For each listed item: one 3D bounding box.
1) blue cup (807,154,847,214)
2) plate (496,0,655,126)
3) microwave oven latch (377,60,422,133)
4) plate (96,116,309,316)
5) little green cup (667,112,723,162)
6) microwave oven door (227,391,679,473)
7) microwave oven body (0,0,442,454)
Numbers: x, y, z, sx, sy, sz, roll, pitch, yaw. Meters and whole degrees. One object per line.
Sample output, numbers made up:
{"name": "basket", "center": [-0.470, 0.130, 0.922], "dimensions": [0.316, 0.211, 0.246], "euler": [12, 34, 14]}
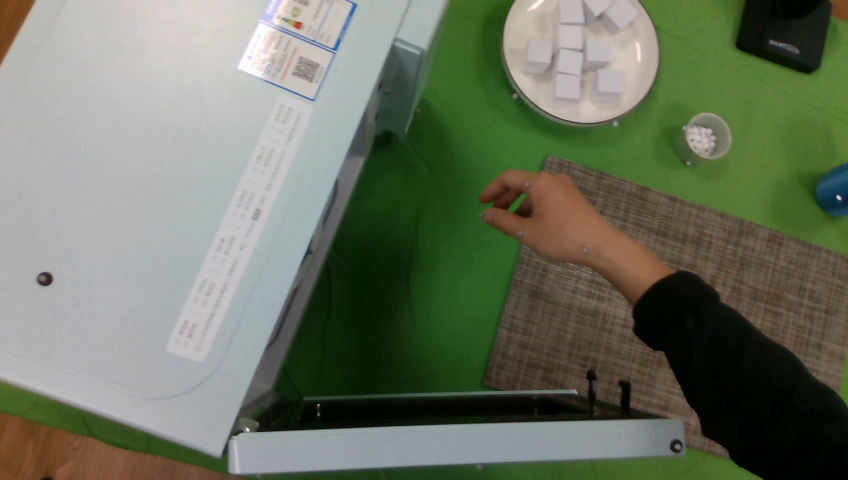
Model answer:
{"name": "blue cup", "center": [0.553, -0.073, 0.774], "dimensions": [0.093, 0.100, 0.092], "euler": [1, 83, -8]}
{"name": "plate", "center": [0.192, -0.244, 0.783], "dimensions": [0.208, 0.039, 0.207], "euler": [1, 82, -7]}
{"name": "microwave oven latch", "center": [-0.030, -0.171, 0.724], "dimensions": [0.030, 0.029, 0.079], "euler": [25, 80, -4]}
{"name": "plate", "center": [-0.225, -0.024, 0.632], "dimensions": [0.209, 0.038, 0.208], "euler": [1, 83, -8]}
{"name": "little green cup", "center": [0.350, -0.132, 0.788], "dimensions": [0.062, 0.038, 0.061], "euler": [1, 81, -7]}
{"name": "microwave oven door", "center": [0.017, 0.175, 0.579], "dimensions": [0.356, 0.244, 0.039], "euler": [0, 80, -7]}
{"name": "microwave oven body", "center": [-0.216, -0.073, 0.588], "dimensions": [0.326, 0.260, 0.440], "euler": [21, 80, -4]}
